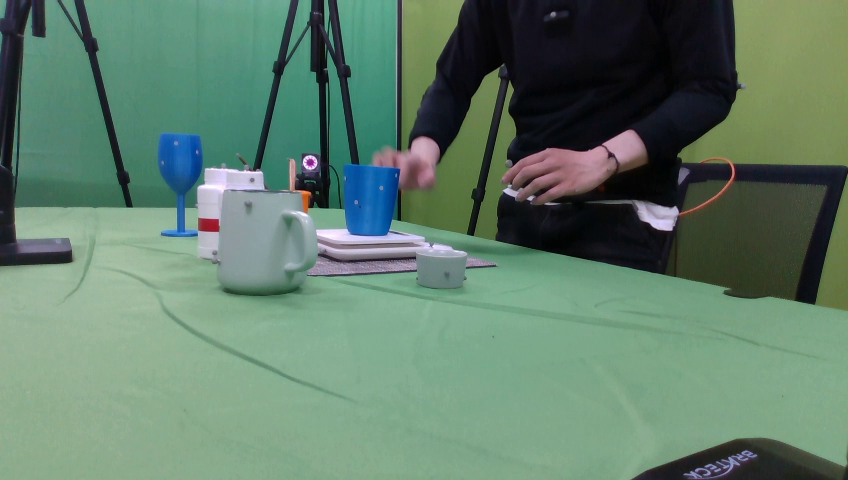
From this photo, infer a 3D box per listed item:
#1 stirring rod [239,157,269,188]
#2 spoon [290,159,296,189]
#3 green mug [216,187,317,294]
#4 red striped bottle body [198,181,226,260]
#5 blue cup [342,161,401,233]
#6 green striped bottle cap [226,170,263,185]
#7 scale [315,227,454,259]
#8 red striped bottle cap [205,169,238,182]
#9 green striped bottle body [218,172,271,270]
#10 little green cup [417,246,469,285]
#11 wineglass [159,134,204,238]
[{"bbox_3d":[-0.309,-0.098,1.209,0.006,0.177,0.014,-39,29,-4],"label":"stirring rod"},{"bbox_3d":[-0.273,-0.102,1.252,0.042,0.193,0.021,7,-38,-17],"label":"spoon"},{"bbox_3d":[-0.157,0.000,0.629,0.124,0.105,0.093,7,9,37],"label":"green mug"},{"bbox_3d":[-0.275,-0.036,0.827,0.063,0.119,0.063,1,7,0],"label":"red striped bottle body"},{"bbox_3d":[-0.079,-0.062,0.883,0.093,0.100,0.092,3,5,0],"label":"blue cup"},{"bbox_3d":[-0.222,-0.077,0.748,0.044,0.020,0.044,1,7,0],"label":"green striped bottle cap"},{"bbox_3d":[-0.066,0.001,0.906,0.202,0.031,0.148,-2,8,-31],"label":"scale"},{"bbox_3d":[-0.274,-0.088,0.821,0.044,0.017,0.044,-1,6,0],"label":"red striped bottle cap"},{"bbox_3d":[-0.223,-0.025,0.755,0.063,0.119,0.063,1,7,0],"label":"green striped bottle body"},{"bbox_3d":[0.021,0.029,0.701,0.061,0.038,0.061,1,6,0],"label":"little green cup"},{"bbox_3d":[-0.415,-0.093,1.040,0.074,0.172,0.073,2,7,0],"label":"wineglass"}]
